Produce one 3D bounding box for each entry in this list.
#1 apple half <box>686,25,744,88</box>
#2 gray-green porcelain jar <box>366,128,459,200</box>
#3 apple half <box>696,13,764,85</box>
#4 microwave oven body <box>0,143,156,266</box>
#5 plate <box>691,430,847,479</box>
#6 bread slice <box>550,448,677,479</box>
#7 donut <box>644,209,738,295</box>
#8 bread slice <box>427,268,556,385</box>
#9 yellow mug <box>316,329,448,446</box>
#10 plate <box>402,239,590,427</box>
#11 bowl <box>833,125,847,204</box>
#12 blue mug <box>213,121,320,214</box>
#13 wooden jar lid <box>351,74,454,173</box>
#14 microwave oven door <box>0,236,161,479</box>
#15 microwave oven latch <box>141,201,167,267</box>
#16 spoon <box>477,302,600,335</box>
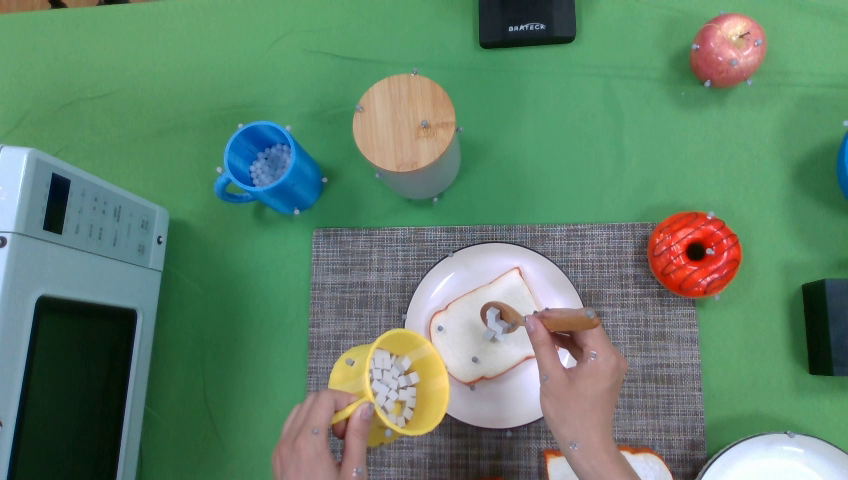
[{"bbox_3d":[0.325,-0.201,0.698,0.033,0.081,0.081,-33,77,-5],"label":"apple half"},{"bbox_3d":[-0.014,-0.108,0.695,0.106,0.127,0.105,-1,79,7],"label":"gray-green porcelain jar"},{"bbox_3d":[0.356,-0.223,0.700,0.053,0.075,0.080,-32,73,-5],"label":"apple half"},{"bbox_3d":[-0.504,0.143,0.633,0.325,0.261,0.440,2,81,7],"label":"microwave oven body"},{"bbox_3d":[0.370,0.300,0.622,0.209,0.038,0.208,-1,80,7],"label":"plate"},{"bbox_3d":[0.202,0.272,0.620,0.135,0.018,0.106,-5,76,-14],"label":"bread slice"},{"bbox_3d":[0.296,0.014,0.675,0.099,0.048,0.098,-1,81,7],"label":"donut"},{"bbox_3d":[0.071,0.106,0.690,0.131,0.019,0.104,-27,77,0],"label":"bread slice"},{"bbox_3d":[-0.045,0.146,0.573,0.064,0.131,0.099,-30,82,44],"label":"yellow mug"},{"bbox_3d":[0.080,0.104,0.687,0.207,0.039,0.207,-1,80,7],"label":"plate"},{"bbox_3d":[0.510,-0.075,0.653,0.151,0.077,0.151,-1,80,7],"label":"bowl"},{"bbox_3d":[-0.192,-0.075,0.719,0.116,0.106,0.082,-26,77,2],"label":"blue mug"},{"bbox_3d":[-0.022,-0.120,0.634,0.108,0.021,0.108,-2,78,7],"label":"wooden jar lid"},{"bbox_3d":[-0.363,0.189,0.603,0.039,0.245,0.354,2,80,7],"label":"microwave oven door"},{"bbox_3d":[-0.336,-0.008,0.739,0.030,0.029,0.079,4,81,7],"label":"microwave oven latch"},{"bbox_3d":[0.102,0.077,0.575,0.021,0.193,0.042,-32,97,-20],"label":"spoon"}]
